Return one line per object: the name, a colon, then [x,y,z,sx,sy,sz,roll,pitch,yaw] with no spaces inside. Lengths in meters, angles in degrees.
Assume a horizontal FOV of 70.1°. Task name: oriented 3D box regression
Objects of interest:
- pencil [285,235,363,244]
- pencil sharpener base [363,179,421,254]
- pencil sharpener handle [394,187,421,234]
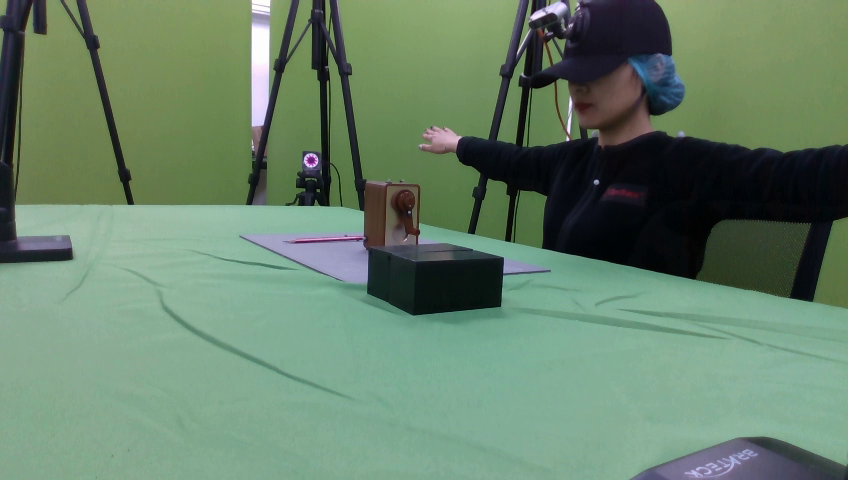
pencil: [-0.138,-0.002,1.003,0.195,0.012,0.012,-4,9,-33]
pencil sharpener base: [-0.048,-0.036,0.906,0.062,0.107,0.076,-1,8,-31]
pencil sharpener handle: [-0.019,-0.042,0.862,0.036,0.068,0.030,-13,14,-29]
